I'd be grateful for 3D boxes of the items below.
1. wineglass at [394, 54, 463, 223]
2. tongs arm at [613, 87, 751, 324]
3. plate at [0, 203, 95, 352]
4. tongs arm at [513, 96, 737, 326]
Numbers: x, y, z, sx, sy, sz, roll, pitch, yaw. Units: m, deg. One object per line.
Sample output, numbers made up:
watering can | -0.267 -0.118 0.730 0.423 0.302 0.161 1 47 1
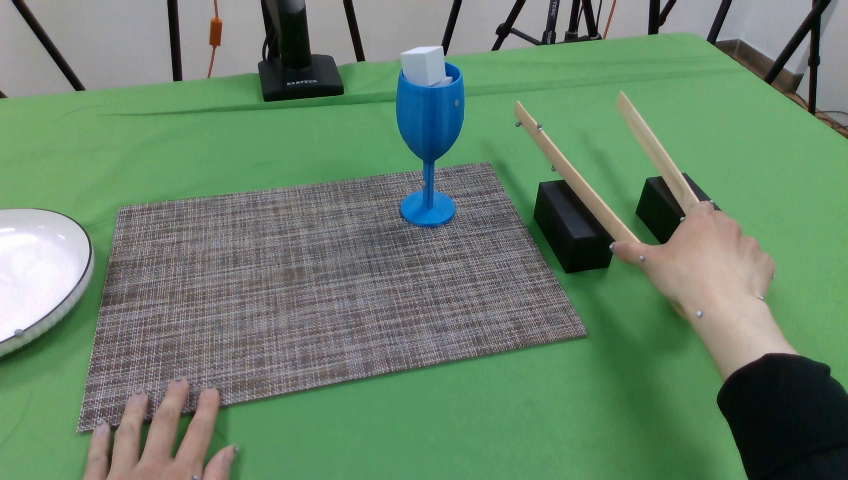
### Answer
wineglass | 0.004 -0.105 0.655 0.074 0.174 0.073 1 42 -1
tongs arm | 0.266 -0.064 0.664 0.028 0.028 0.383 2 42 -7
plate | -0.425 0.042 0.582 0.209 0.038 0.207 1 42 -1
tongs arm | 0.191 -0.055 0.650 0.051 0.027 0.380 -9 43 -14
